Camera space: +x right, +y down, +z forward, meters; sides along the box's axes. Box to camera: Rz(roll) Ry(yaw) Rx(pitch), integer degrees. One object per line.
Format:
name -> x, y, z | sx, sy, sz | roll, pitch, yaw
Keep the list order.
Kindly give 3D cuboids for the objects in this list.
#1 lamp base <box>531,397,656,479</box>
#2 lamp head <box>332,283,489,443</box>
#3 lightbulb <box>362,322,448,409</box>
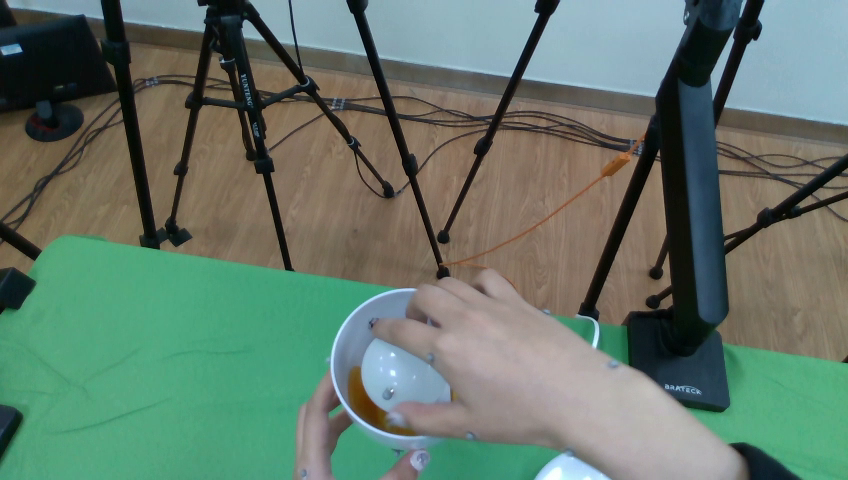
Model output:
lamp base -> 0.193, 0.245, 0.609 | 0.161, 0.182, 0.177 | -3, 52, -5
lamp head -> -0.006, 0.107, 0.472 | 0.112, 0.124, 0.111 | -2, 59, 3
lightbulb -> -0.013, 0.097, 0.442 | 0.059, 0.108, 0.059 | 0, 64, 0
